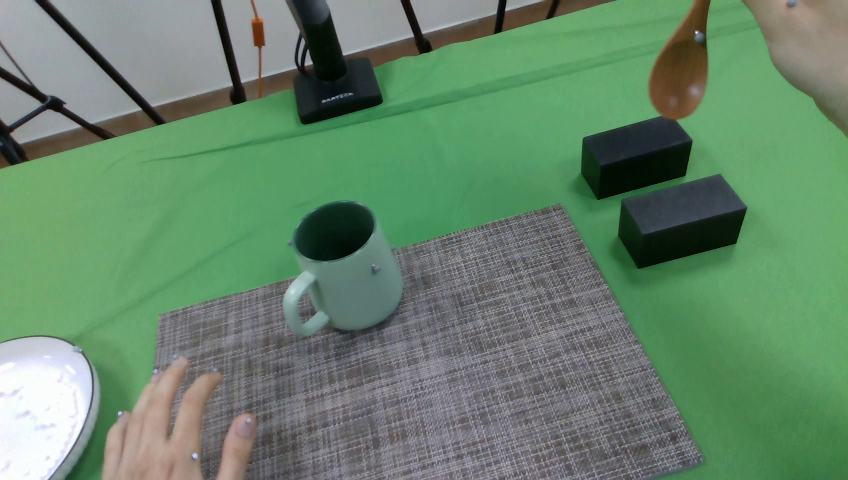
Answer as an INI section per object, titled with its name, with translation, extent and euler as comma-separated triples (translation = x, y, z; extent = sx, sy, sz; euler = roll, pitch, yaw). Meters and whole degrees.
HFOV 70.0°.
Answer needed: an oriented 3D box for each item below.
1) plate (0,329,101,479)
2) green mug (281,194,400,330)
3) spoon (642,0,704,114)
[plate]
translation = -0.397, 0.178, 0.560
extent = 0.209, 0.038, 0.207
euler = -6, 48, 7
[green mug]
translation = -0.084, 0.031, 0.573
extent = 0.092, 0.106, 0.125
euler = 23, 57, 28
[spoon]
translation = 0.177, -0.175, 0.380
extent = 0.041, 0.195, 0.021
euler = 4, 34, 0
